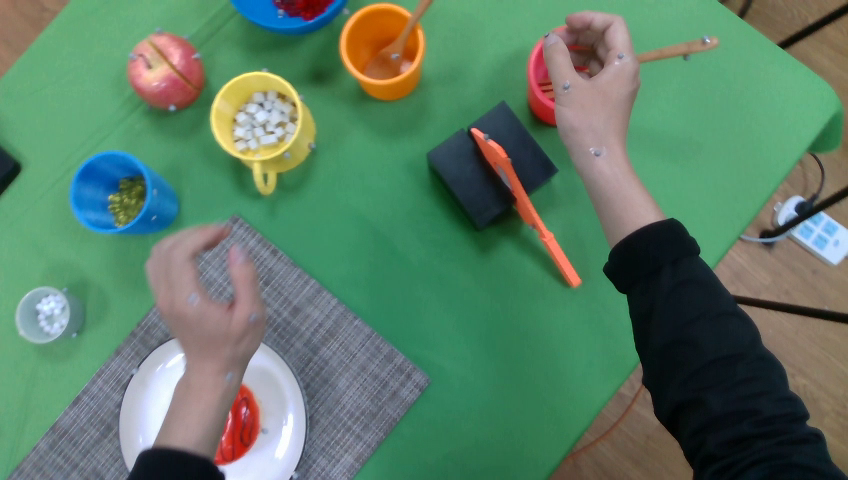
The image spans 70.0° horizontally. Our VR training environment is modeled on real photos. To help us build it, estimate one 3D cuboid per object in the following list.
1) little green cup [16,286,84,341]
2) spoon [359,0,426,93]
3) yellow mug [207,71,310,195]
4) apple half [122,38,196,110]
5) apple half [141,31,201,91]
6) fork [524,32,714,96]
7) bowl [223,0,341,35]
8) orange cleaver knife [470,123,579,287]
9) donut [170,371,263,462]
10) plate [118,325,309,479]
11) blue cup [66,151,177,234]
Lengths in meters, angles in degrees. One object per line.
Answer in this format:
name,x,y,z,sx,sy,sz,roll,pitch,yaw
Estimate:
little green cup,-0.423,0.083,0.689,0.061,0.039,0.061,0,84,3
spoon,-0.018,-0.232,0.649,0.041,0.194,0.021,50,44,6
yellow mug,-0.184,-0.116,0.685,0.100,0.064,0.130,-2,86,1
apple half,-0.307,-0.180,0.692,0.053,0.074,0.081,-45,88,1
apple half,-0.279,-0.209,0.692,0.033,0.081,0.081,-44,84,-3
fork,0.196,-0.185,0.640,0.206,0.019,0.028,-7,68,43
bowl,-0.154,-0.298,0.694,0.151,0.077,0.151,0,86,2
orange cleaver knife,0.110,-0.036,0.661,0.012,0.076,0.213,-35,114,1
donut,-0.225,0.192,0.658,0.099,0.048,0.099,0,87,2
plate,-0.228,0.197,0.669,0.209,0.038,0.208,0,85,2
blue cup,-0.322,-0.045,0.666,0.092,0.100,0.092,0,85,0
